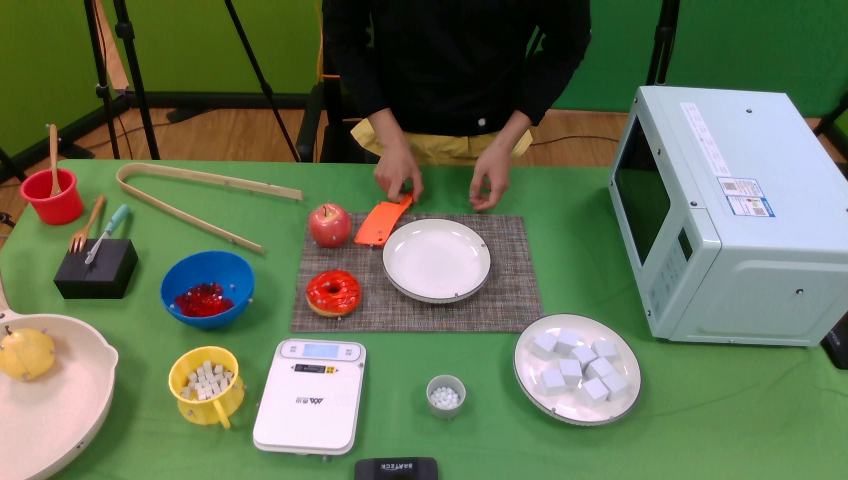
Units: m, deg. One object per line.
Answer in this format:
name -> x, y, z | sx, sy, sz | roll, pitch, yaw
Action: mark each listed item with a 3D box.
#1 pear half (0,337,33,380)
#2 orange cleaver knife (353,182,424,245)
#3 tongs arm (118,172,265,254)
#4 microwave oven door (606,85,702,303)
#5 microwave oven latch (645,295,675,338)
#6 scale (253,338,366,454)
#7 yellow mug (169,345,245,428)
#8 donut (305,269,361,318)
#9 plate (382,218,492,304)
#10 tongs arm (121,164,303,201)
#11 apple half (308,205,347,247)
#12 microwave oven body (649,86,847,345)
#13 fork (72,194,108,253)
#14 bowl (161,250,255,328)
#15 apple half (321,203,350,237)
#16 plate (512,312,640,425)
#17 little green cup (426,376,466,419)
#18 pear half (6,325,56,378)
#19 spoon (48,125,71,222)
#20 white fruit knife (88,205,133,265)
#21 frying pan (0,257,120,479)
pear half -> -0.631, 0.184, 0.921 | 0.070, 0.088, 0.031 | 29, 49, 19
orange cleaver knife -> -0.070, -0.058, 1.246 | 0.077, 0.012, 0.210 | 16, 48, 23
tongs arm -> -0.473, -0.054, 1.211 | 0.386, 0.028, 0.028 | 23, 56, 18
microwave oven door -> 0.422, -0.094, 1.140 | 0.039, 0.245, 0.353 | 2, 46, -1
microwave oven latch -> 0.411, 0.134, 1.061 | 0.030, 0.029, 0.078 | 3, 45, 0
scale -> -0.175, 0.236, 0.951 | 0.149, 0.032, 0.199 | 4, 45, -1
yellow mug -> -0.322, 0.230, 0.922 | 0.100, 0.064, 0.130 | -24, 53, -25
donut -> -0.160, 0.094, 1.075 | 0.099, 0.048, 0.098 | 4, 45, -3
plate -> 0.023, 0.042, 1.143 | 0.209, 0.038, 0.208 | 2, 46, -2
tongs arm -> -0.444, -0.114, 1.267 | 0.384, 0.026, 0.050 | 12, 50, 8
apple half -> -0.193, -0.021, 1.164 | 0.080, 0.075, 0.053 | 37, 58, 23
microwave oven body -> 0.567, -0.053, 1.118 | 0.326, 0.261, 0.439 | 2, 45, -1
fork -> -0.634, -0.036, 1.158 | 0.028, 0.019, 0.206 | -8, 32, -8
bowl -> -0.362, 0.098, 1.039 | 0.151, 0.077, 0.150 | 2, 45, -2
apple half -> -0.166, -0.041, 1.183 | 0.081, 0.082, 0.033 | 35, 57, 27
plate -> 0.246, 0.213, 0.999 | 0.208, 0.039, 0.206 | 2, 46, -2
little green cup -> 0.033, 0.248, 0.950 | 0.061, 0.039, 0.061 | 2, 46, -2
pear half -> -0.608, 0.158, 0.935 | 0.076, 0.110, 0.056 | 31, 51, 20
spoon -> -0.718, -0.131, 1.188 | 0.041, 0.021, 0.193 | -3, 90, -7
white fruit knife -> -0.584, -0.013, 1.129 | 0.016, 0.027, 0.206 | -1, 32, -5
frying pan -> -0.647, 0.164, 0.936 | 0.307, 0.103, 0.485 | -19, 58, -22
